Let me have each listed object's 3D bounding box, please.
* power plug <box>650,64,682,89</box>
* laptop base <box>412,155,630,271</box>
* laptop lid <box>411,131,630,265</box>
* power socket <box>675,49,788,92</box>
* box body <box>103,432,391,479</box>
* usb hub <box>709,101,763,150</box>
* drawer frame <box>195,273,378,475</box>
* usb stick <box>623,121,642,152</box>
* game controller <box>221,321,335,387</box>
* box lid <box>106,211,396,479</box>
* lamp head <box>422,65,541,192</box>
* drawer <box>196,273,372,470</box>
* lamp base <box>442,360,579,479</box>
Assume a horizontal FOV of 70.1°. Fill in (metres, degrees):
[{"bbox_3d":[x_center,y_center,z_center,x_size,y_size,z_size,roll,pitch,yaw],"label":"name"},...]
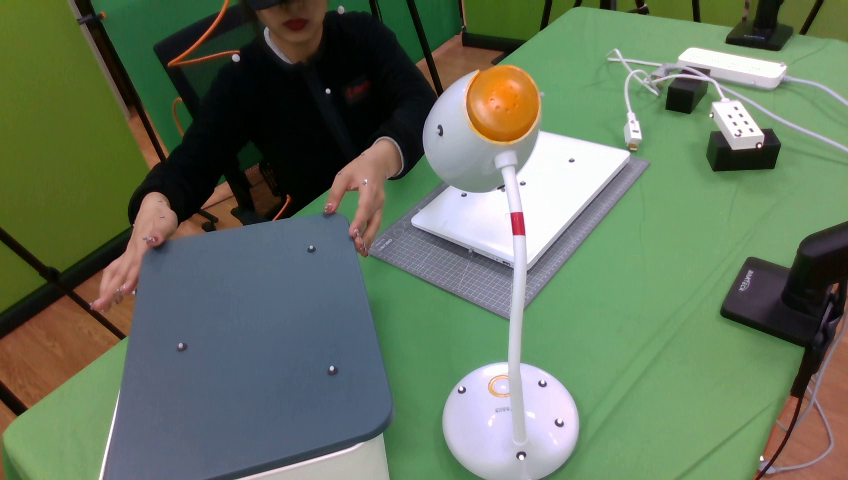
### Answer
[{"bbox_3d":[0.498,-0.341,1.263,0.035,0.052,0.072,20,10,-7],"label":"power plug"},{"bbox_3d":[0.175,-0.084,1.056,0.233,0.023,0.355,20,48,36],"label":"laptop base"},{"bbox_3d":[0.172,-0.094,1.050,0.239,0.013,0.358,23,49,36],"label":"laptop lid"},{"bbox_3d":[0.647,-0.363,1.284,0.225,0.033,0.072,26,53,35],"label":"power socket"},{"bbox_3d":[-0.190,0.161,0.723,0.255,0.161,0.361,-13,40,-5],"label":"box body"},{"bbox_3d":[0.534,-0.199,1.040,0.049,0.025,0.124,-5,39,8],"label":"usb hub"},{"bbox_3d":[-0.180,0.159,0.772,0.202,0.083,0.212,-17,42,-8],"label":"drawer frame"},{"bbox_3d":[0.389,-0.191,1.128,0.021,0.027,0.059,9,61,-10],"label":"usb stick"},{"bbox_3d":[-0.196,0.145,0.812,0.155,0.051,0.096,-18,12,-10],"label":"game controller"},{"bbox_3d":[-0.190,0.092,0.675,0.264,0.015,0.368,-12,39,-9],"label":"box lid"},{"bbox_3d":[0.060,-0.106,0.560,0.113,0.112,0.122,-16,0,-8],"label":"lamp head"},{"bbox_3d":[-0.184,0.159,0.773,0.195,0.073,0.210,-17,41,-7],"label":"drawer"},{"bbox_3d":[0.094,0.158,0.657,0.161,0.181,0.178,-13,42,-5],"label":"lamp base"}]
